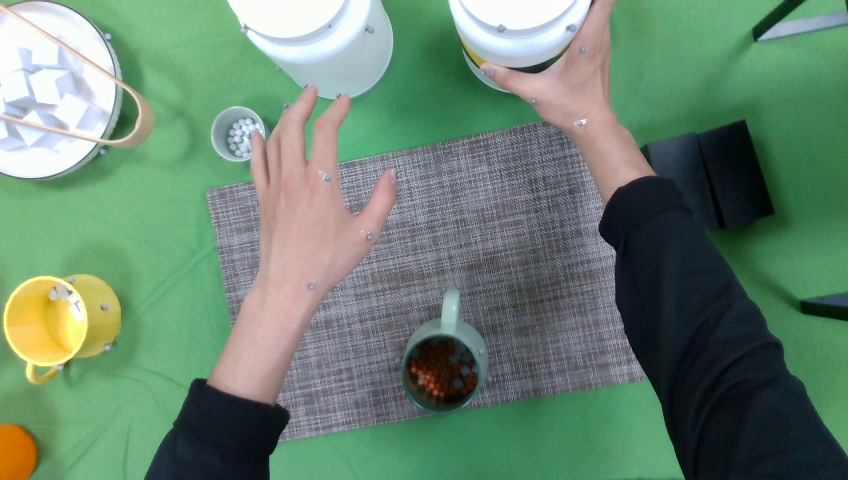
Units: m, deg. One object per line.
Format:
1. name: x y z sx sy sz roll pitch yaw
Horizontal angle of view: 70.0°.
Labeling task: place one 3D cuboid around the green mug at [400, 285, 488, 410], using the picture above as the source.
1. green mug: 0.023 0.110 0.634 0.092 0.105 0.125 6 90 6

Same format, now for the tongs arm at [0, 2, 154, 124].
1. tongs arm: -0.459 -0.242 0.682 0.387 0.028 0.028 32 86 6

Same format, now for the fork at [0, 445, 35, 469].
1. fork: -0.549 0.247 0.662 0.209 0.018 0.028 8 86 -38

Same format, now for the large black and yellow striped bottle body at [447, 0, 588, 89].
1. large black and yellow striped bottle body: 0.091 -0.232 0.589 0.130 0.184 0.130 0 90 9

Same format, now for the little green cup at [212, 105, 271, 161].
1. little green cup: -0.205 -0.119 0.691 0.061 0.038 0.061 0 91 4

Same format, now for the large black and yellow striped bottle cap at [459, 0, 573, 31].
1. large black and yellow striped bottle cap: 0.078 -0.234 0.506 0.115 0.019 0.115 0 91 7

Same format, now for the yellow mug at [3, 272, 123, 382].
1. yellow mug: -0.417 0.102 0.694 0.100 0.064 0.131 22 92 5

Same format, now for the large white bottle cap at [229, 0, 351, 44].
1. large white bottle cap: -0.117 -0.230 0.525 0.115 0.018 0.115 0 90 5

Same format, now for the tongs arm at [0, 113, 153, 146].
1. tongs arm: -0.492 -0.164 0.683 0.384 0.026 0.050 18 88 7

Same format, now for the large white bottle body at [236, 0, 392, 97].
1. large white bottle body: -0.109 -0.229 0.609 0.130 0.185 0.130 0 89 6

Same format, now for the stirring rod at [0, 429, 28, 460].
1. stirring rod: -0.521 0.279 0.666 0.014 0.006 0.175 39 51 3

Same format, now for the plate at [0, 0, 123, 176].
1. plate: -0.449 -0.177 0.711 0.207 0.039 0.207 0 90 5
